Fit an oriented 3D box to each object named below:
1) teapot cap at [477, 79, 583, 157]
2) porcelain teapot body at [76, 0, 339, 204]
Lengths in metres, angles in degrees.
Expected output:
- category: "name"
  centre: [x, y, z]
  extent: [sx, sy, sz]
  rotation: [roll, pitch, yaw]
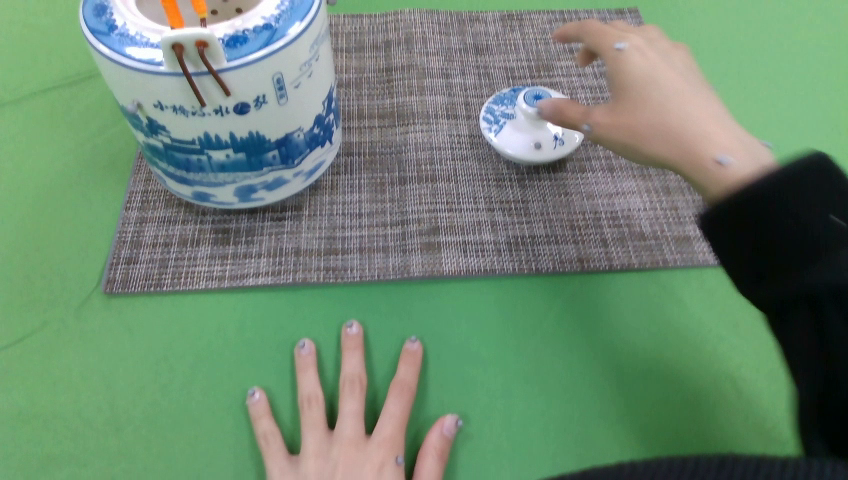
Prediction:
- category: "teapot cap"
  centre: [0.085, -0.102, 0.481]
  extent: [0.085, 0.044, 0.084]
  rotation: [-1, 55, 1]
- category: "porcelain teapot body"
  centre: [-0.140, -0.159, 0.402]
  extent: [0.145, 0.227, 0.203]
  rotation: [-8, 57, -7]
